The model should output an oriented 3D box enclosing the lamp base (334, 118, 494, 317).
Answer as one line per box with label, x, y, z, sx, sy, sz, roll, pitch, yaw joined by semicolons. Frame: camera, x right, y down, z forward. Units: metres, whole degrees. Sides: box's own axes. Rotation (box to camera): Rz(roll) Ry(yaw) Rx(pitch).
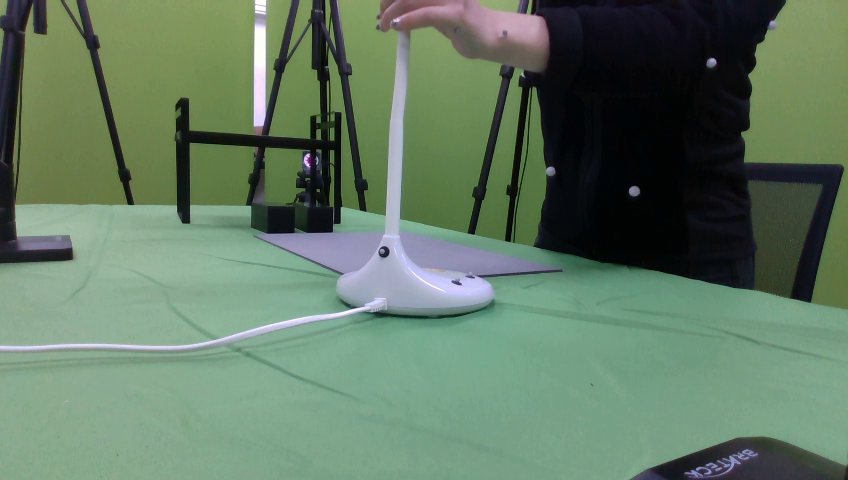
lamp base;-0.010;-0.025;0.588;0.160;0.180;0.179;4;10;15
